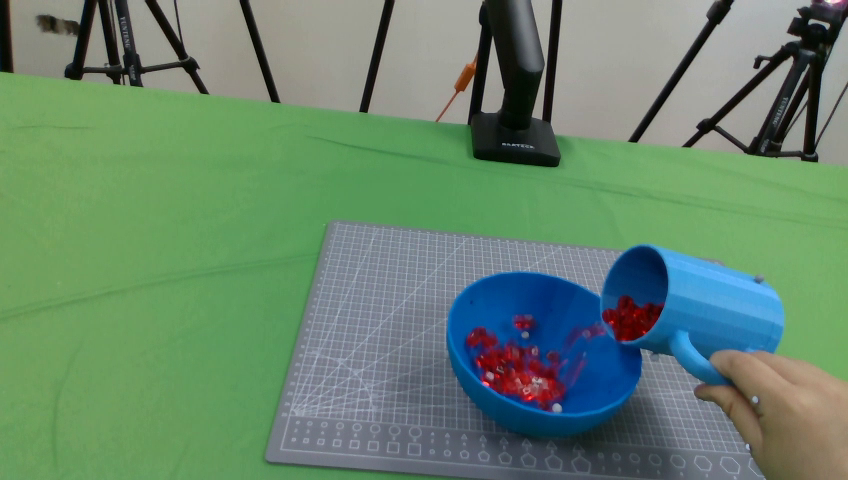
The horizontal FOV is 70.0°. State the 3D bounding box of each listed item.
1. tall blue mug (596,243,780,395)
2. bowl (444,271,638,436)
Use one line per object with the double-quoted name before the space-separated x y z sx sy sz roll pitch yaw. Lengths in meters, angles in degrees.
"tall blue mug" 0.202 0.056 0.446 0.108 0.078 0.106 16 8 -18
"bowl" 0.085 0.102 0.486 0.151 0.077 0.150 6 37 -4
